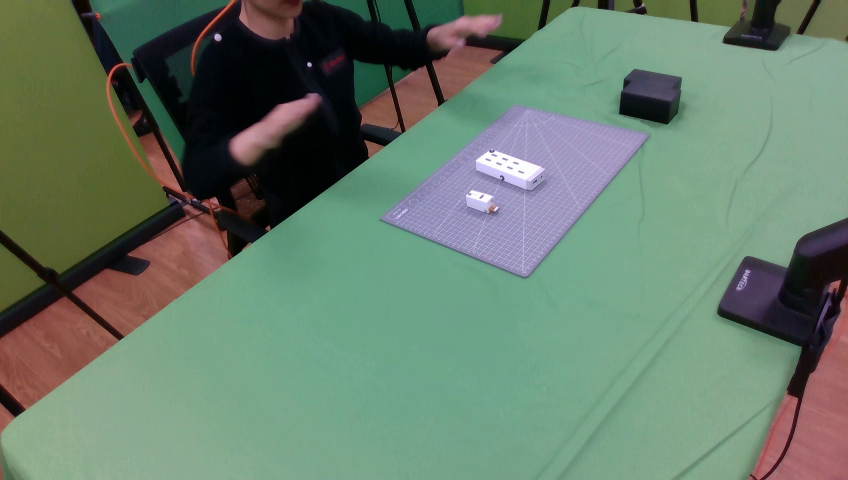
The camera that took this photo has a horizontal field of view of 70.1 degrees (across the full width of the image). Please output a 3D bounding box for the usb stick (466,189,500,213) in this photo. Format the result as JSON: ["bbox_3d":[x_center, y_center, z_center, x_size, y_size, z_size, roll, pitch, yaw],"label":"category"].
[{"bbox_3d":[0.102,-0.064,1.031,0.059,0.027,0.021,24,49,30],"label":"usb stick"}]

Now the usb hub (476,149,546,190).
[{"bbox_3d":[0.157,-0.129,1.098,0.124,0.025,0.049,28,52,35],"label":"usb hub"}]
